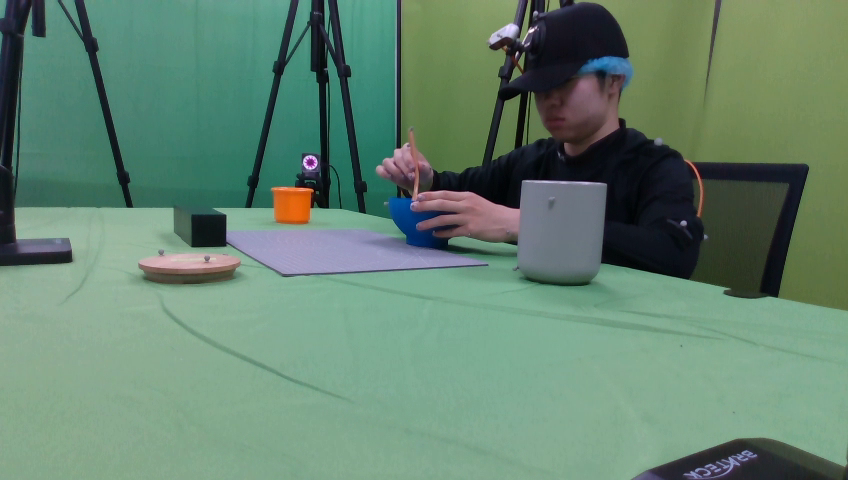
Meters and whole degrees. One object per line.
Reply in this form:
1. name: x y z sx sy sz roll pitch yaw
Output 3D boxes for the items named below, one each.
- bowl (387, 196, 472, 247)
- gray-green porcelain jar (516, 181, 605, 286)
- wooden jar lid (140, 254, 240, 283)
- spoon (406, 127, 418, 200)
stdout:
1. bowl: 0.006 -0.030 1.051 0.151 0.077 0.151 5 5 0
2. gray-green porcelain jar: 0.172 -0.010 0.768 0.106 0.126 0.106 2 7 0
3. wooden jar lid: -0.269 0.032 0.698 0.108 0.020 0.108 2 5 0
4. spoon: -0.019 -0.106 1.068 0.022 0.193 0.041 -1 -11 -3
